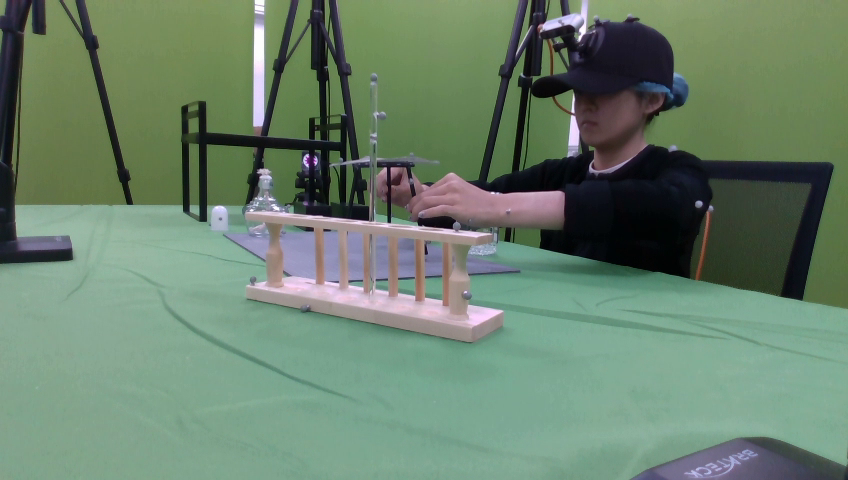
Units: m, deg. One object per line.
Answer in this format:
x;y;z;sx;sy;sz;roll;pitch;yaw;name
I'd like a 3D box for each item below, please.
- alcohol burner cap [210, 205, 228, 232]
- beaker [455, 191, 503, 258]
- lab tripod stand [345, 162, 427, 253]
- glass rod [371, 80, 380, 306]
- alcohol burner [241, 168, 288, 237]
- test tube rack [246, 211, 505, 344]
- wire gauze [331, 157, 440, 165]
-0.376;-0.040;1.107;0.034;0.048;0.034;2;7;0;alcohol burner cap
0.087;-0.025;0.955;0.074;0.100;0.083;-1;8;-25;beaker
-0.058;-0.049;0.893;0.148;0.131;0.148;-1;8;0;lab tripod stand
-0.042;-0.039;0.530;0.008;0.199;0.008;1;2;0;glass rod
-0.272;-0.064;1.036;0.078;0.119;0.078;4;5;0;alcohol burner
-0.049;0.025;0.547;0.241;0.085;0.067;7;8;29;test tube rack
-0.054;-0.115;0.880;0.121;0.011;0.125;3;8;21;wire gauze
